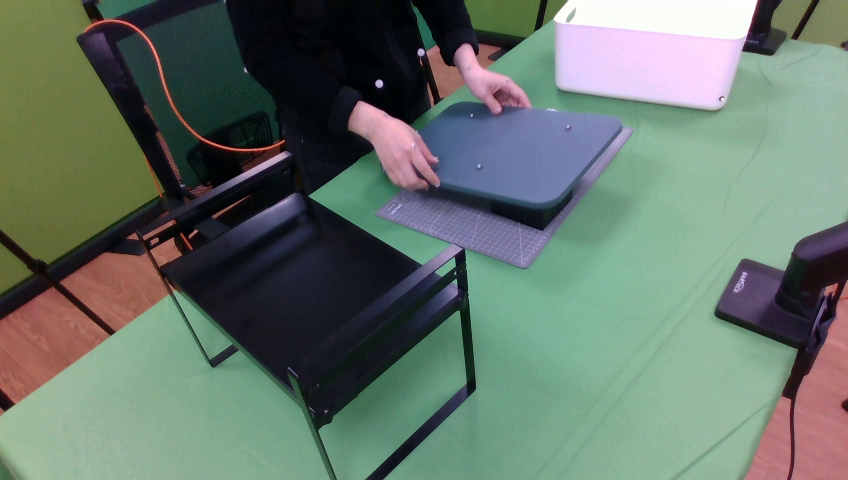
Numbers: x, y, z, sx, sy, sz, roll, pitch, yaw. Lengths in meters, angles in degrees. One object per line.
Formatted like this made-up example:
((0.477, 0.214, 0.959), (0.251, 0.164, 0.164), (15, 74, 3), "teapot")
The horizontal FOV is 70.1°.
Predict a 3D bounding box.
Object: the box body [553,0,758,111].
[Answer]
((0.480, -0.417, 1.282), (0.362, 0.161, 0.254), (15, 46, 24), "box body")

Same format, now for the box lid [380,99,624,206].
((0.125, -0.166, 1.052), (0.368, 0.015, 0.264), (17, 48, 37), "box lid")

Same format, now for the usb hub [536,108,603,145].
((0.284, -0.225, 1.188), (0.124, 0.025, 0.049), (28, 53, 35), "usb hub")
